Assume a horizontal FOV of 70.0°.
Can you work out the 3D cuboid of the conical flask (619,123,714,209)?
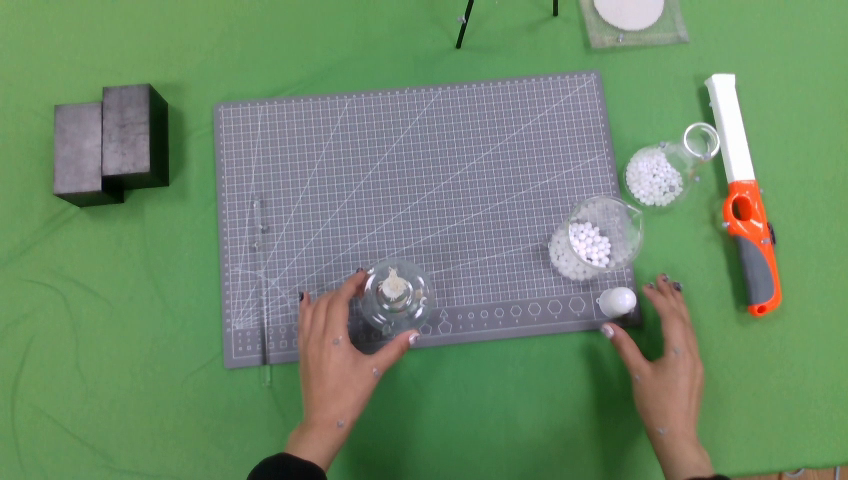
[{"bbox_3d":[0.259,-0.083,0.637,0.075,0.122,0.075,0,78,-1],"label":"conical flask"}]

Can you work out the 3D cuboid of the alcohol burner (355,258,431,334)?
[{"bbox_3d":[-0.032,0.054,0.604,0.078,0.119,0.077,0,78,1],"label":"alcohol burner"}]

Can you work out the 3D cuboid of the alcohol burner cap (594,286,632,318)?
[{"bbox_3d":[0.204,0.064,0.645,0.034,0.048,0.033,1,77,-3],"label":"alcohol burner cap"}]

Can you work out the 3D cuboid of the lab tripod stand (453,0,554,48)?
[{"bbox_3d":[0.084,-0.294,0.668,0.148,0.132,0.148,0,81,-1],"label":"lab tripod stand"}]

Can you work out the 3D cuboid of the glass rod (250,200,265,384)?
[{"bbox_3d":[-0.179,0.054,0.654,0.008,0.008,0.199,-5,82,-3],"label":"glass rod"}]

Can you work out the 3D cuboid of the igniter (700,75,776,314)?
[{"bbox_3d":[0.352,-0.055,0.682,0.057,0.025,0.275,-3,79,-14],"label":"igniter"}]

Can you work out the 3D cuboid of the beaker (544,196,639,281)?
[{"bbox_3d":[0.170,0.001,0.627,0.084,0.100,0.073,-29,81,-7],"label":"beaker"}]

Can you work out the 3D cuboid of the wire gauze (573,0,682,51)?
[{"bbox_3d":[0.243,-0.288,0.734,0.125,0.011,0.121,-7,79,-5],"label":"wire gauze"}]
